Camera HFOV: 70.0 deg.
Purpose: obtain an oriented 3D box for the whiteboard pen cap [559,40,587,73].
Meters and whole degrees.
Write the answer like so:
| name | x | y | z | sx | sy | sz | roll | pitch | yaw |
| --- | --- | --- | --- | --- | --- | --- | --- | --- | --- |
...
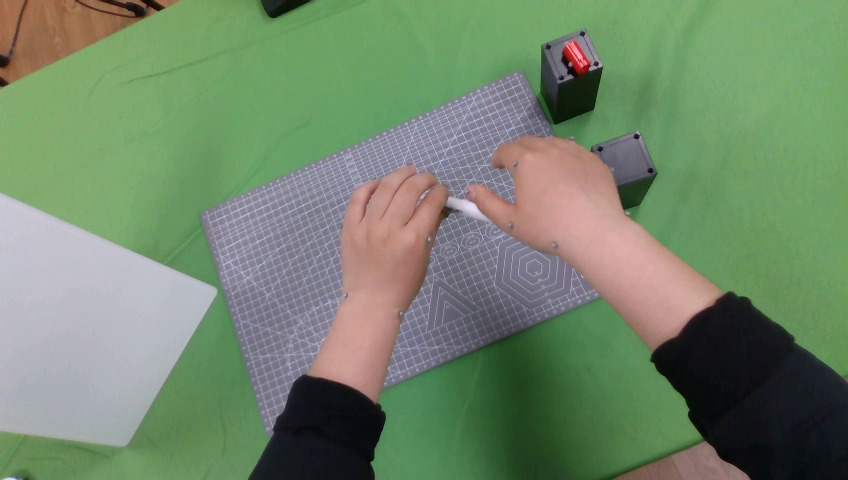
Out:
| name | x | y | z | sx | sy | sz | roll | pitch | yaw |
| --- | --- | --- | --- | --- | --- | --- | --- | --- | --- |
| whiteboard pen cap | 0.158 | -0.193 | 0.638 | 0.017 | 0.017 | 0.032 | -29 | 75 | 2 |

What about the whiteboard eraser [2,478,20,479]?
| name | x | y | z | sx | sy | sz | roll | pitch | yaw |
| --- | --- | --- | --- | --- | --- | --- | --- | --- | --- |
| whiteboard eraser | -0.474 | 0.324 | 0.716 | 0.100 | 0.019 | 0.041 | 38 | 84 | 15 |

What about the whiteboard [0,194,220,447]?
| name | x | y | z | sx | sy | sz | roll | pitch | yaw |
| --- | --- | --- | --- | --- | --- | --- | --- | --- | --- |
| whiteboard | -0.424 | 0.076 | 0.655 | 0.142 | 0.308 | 0.217 | 23 | 81 | 35 |

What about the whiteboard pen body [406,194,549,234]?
| name | x | y | z | sx | sy | sz | roll | pitch | yaw |
| --- | --- | --- | --- | --- | --- | --- | --- | --- | --- |
| whiteboard pen body | 0.045 | -0.027 | 0.551 | 0.140 | 0.017 | 0.017 | 14 | 79 | 24 |
